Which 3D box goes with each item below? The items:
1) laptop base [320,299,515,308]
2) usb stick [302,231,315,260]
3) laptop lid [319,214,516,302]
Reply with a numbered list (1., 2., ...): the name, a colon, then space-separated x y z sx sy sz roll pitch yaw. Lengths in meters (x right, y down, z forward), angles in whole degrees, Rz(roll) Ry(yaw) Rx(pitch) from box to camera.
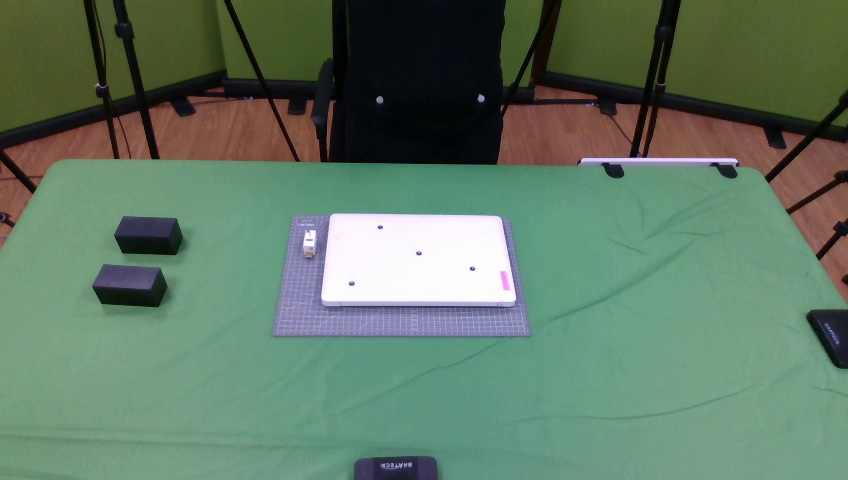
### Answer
1. laptop base: -0.013 0.039 1.160 0.355 0.023 0.234 0 43 -4
2. usb stick: -0.223 0.011 1.163 0.021 0.027 0.059 3 48 -6
3. laptop lid: -0.013 0.029 1.154 0.357 0.013 0.240 2 43 -3
